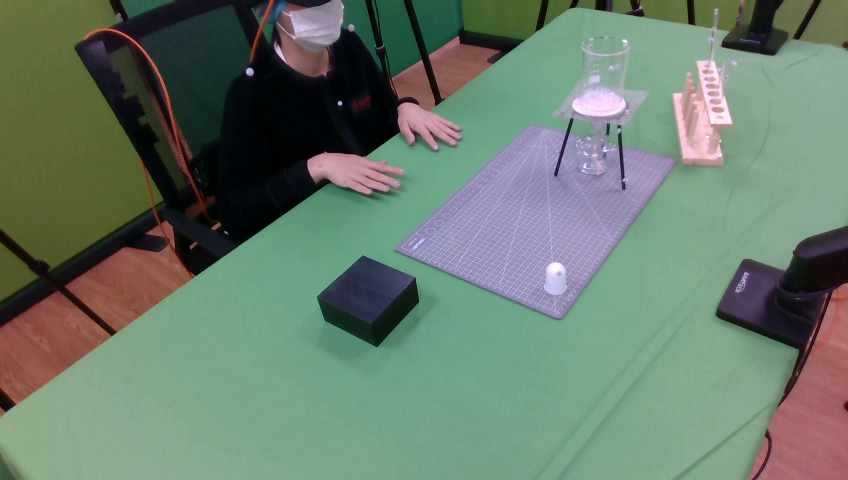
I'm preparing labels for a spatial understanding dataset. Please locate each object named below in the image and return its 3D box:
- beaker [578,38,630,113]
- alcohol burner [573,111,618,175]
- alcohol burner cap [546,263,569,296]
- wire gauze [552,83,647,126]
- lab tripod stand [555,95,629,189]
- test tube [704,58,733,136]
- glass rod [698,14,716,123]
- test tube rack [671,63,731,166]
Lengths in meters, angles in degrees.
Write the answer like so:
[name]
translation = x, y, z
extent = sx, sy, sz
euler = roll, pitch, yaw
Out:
[beaker]
translation = 0.290, -0.265, 0.976
extent = 0.084, 0.101, 0.073
euler = -18, 41, -14
[alcohol burner]
translation = 0.302, -0.174, 1.060
extent = 0.078, 0.119, 0.077
euler = -3, 41, 3
[alcohol burner cap]
translation = 0.191, 0.053, 0.862
extent = 0.034, 0.048, 0.033
euler = -5, 40, 4
[wire gauze]
translation = 0.293, -0.224, 1.004
extent = 0.120, 0.011, 0.125
euler = 19, 43, 25
[lab tripod stand]
translation = 0.300, -0.174, 1.045
extent = 0.148, 0.132, 0.147
euler = -5, 38, 5
[test tube]
translation = 0.516, -0.247, 1.062
extent = 0.017, 0.151, 0.017
euler = -3, 43, 4
[glass rod]
translation = 0.531, -0.320, 1.136
extent = 0.008, 0.200, 0.008
euler = 3, 12, 0
[test tube rack]
translation = 0.513, -0.241, 1.132
extent = 0.066, 0.085, 0.242
euler = 4, 41, 14
